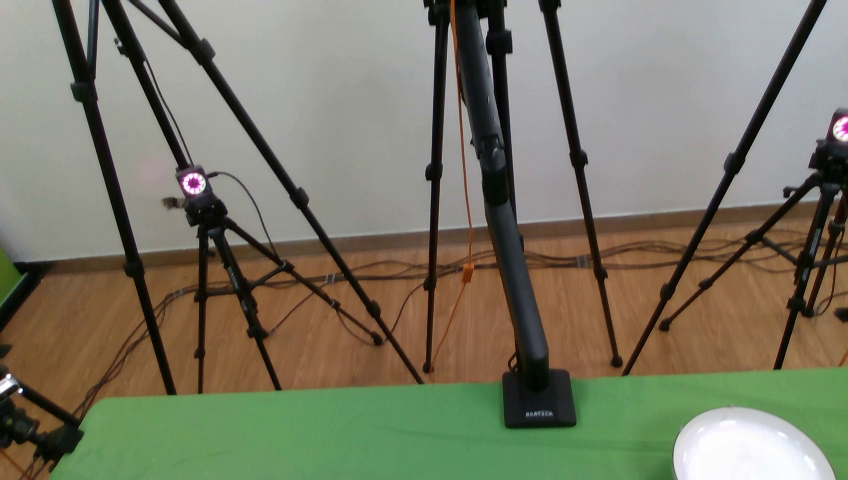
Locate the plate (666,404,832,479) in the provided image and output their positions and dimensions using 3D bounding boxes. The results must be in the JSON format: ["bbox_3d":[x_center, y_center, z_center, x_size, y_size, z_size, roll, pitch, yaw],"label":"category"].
[{"bbox_3d":[0.446,0.327,0.842,0.207,0.039,0.205,-6,40,6],"label":"plate"}]
